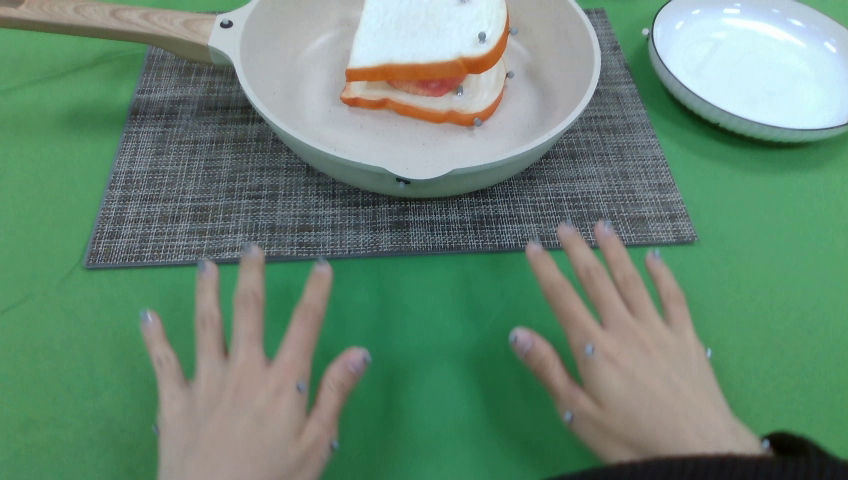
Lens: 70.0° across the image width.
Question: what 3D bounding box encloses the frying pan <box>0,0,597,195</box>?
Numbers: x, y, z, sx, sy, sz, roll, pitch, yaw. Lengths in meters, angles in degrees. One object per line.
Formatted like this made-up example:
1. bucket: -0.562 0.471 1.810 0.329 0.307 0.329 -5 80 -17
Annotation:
1. frying pan: -0.110 -0.160 0.496 0.489 0.103 0.304 7 53 -8

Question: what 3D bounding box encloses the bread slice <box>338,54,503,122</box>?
1. bread slice: 0.003 -0.149 0.541 0.134 0.018 0.106 10 56 4

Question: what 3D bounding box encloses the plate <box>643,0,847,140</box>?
1. plate: 0.305 -0.165 0.566 0.208 0.039 0.205 1 55 -2

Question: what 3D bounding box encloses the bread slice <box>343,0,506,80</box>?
1. bread slice: 0.003 -0.179 0.506 0.131 0.019 0.104 1 61 12
